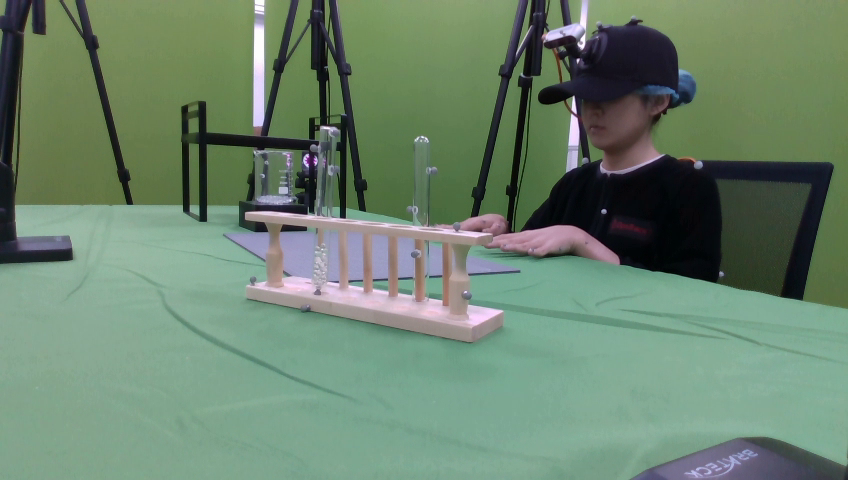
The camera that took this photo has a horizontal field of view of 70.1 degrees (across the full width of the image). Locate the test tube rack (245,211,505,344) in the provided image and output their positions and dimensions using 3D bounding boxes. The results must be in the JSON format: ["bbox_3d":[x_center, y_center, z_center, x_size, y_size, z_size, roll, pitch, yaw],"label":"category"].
[{"bbox_3d":[-0.049,0.025,0.547,0.241,0.085,0.067,7,8,29],"label":"test tube rack"}]

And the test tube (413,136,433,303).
[{"bbox_3d":[-0.002,-0.016,0.538,0.017,0.150,0.017,1,8,0],"label":"test tube"}]

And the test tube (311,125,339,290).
[{"bbox_3d":[-0.090,-0.028,0.545,0.017,0.150,0.017,6,11,-1],"label":"test tube"}]

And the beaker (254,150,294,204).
[{"bbox_3d":[-0.289,-0.120,1.151,0.073,0.100,0.084,8,9,33],"label":"beaker"}]
